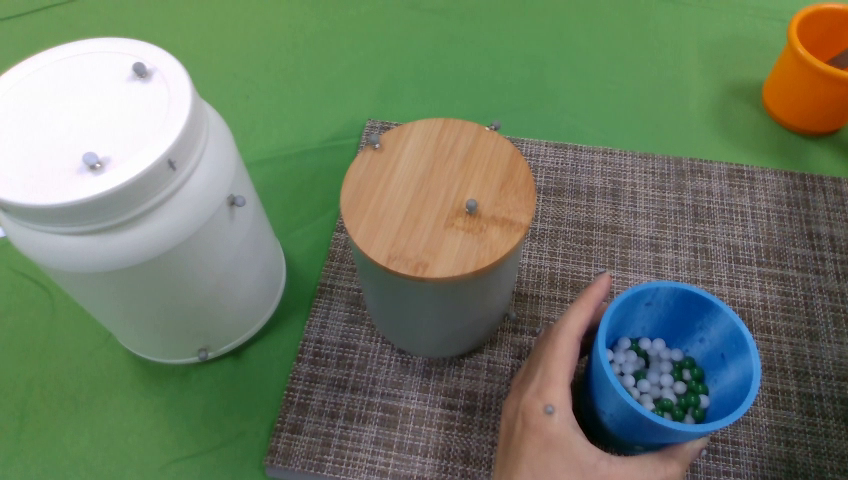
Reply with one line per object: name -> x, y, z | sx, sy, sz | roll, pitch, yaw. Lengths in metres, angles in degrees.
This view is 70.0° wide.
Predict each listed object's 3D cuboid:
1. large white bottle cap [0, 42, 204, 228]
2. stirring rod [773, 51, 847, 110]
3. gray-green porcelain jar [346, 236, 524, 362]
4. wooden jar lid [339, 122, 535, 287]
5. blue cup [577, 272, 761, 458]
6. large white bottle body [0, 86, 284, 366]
large white bottle cap -> -0.173, -0.057, 0.309 | 0.115, 0.018, 0.114 | 0, 58, 1
stirring rod -> 0.365, -0.161, 0.482 | 0.006, 0.176, 0.014 | -18, 76, -45
gray-green porcelain jar -> 0.008, 0.014, 0.394 | 0.106, 0.127, 0.105 | 0, 58, 1
wooden jar lid -> 0.007, -0.020, 0.340 | 0.108, 0.021, 0.107 | -2, 58, 3
blue cup -> 0.133, 0.087, 0.361 | 0.093, 0.101, 0.092 | 1, 57, -1
large white bottle body -> -0.171, -0.012, 0.381 | 0.130, 0.186, 0.129 | 0, 58, 1
